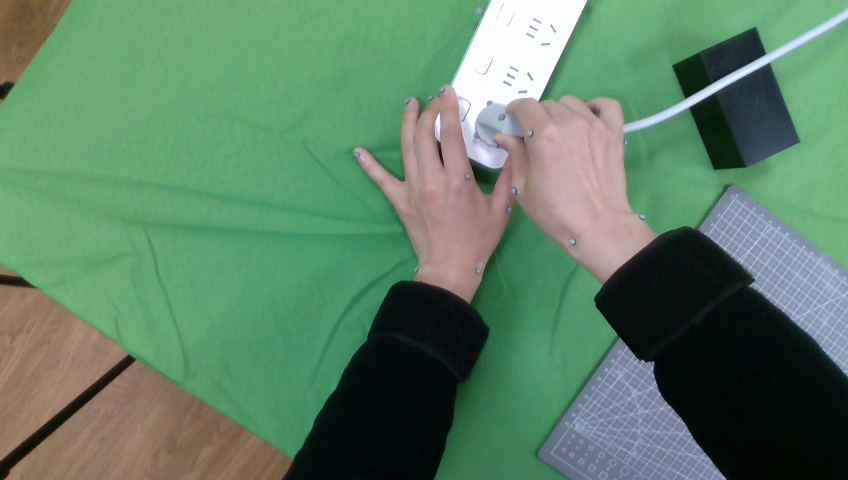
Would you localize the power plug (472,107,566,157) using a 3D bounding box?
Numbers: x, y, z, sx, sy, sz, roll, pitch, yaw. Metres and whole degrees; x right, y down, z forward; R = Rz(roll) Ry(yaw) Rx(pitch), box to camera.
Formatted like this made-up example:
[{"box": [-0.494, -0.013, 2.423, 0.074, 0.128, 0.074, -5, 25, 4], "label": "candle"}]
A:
[{"box": [0.071, -0.077, 0.486, 0.072, 0.052, 0.035, 38, 91, -4], "label": "power plug"}]

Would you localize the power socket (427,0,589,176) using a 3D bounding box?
[{"box": [0.076, -0.159, 0.502, 0.072, 0.032, 0.226, 26, 93, -6], "label": "power socket"}]
